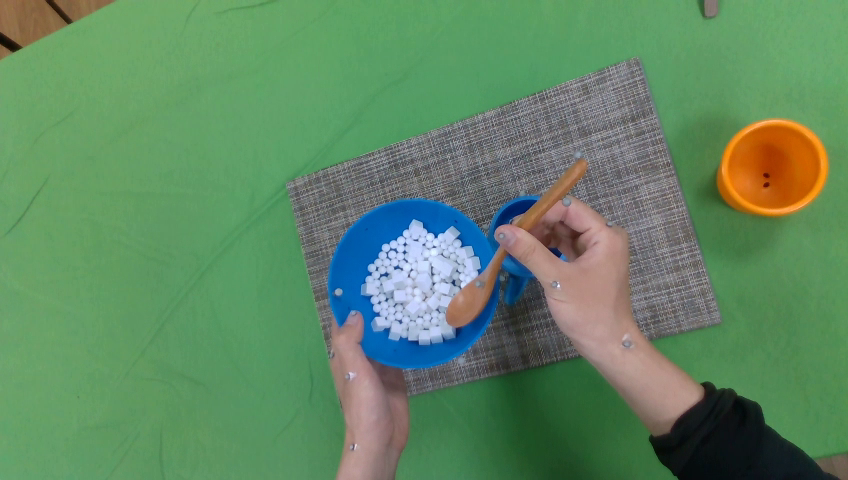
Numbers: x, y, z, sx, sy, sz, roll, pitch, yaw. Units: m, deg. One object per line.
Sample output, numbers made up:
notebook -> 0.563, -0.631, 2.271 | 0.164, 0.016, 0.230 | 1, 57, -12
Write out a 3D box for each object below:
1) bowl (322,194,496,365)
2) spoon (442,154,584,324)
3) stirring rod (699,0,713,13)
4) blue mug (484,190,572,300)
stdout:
bowl -> -0.011, 0.041, 0.557 | 0.151, 0.077, 0.150 | 0, 77, 2
spoon -> 0.061, 0.005, 0.461 | 0.022, 0.041, 0.194 | 18, 135, -13
stirring rod -> 0.288, -0.327, 0.625 | 0.014, 0.006, 0.177 | -8, 108, 10
blue mug -> 0.107, 0.010, 0.643 | 0.082, 0.106, 0.116 | 23, 94, 16
